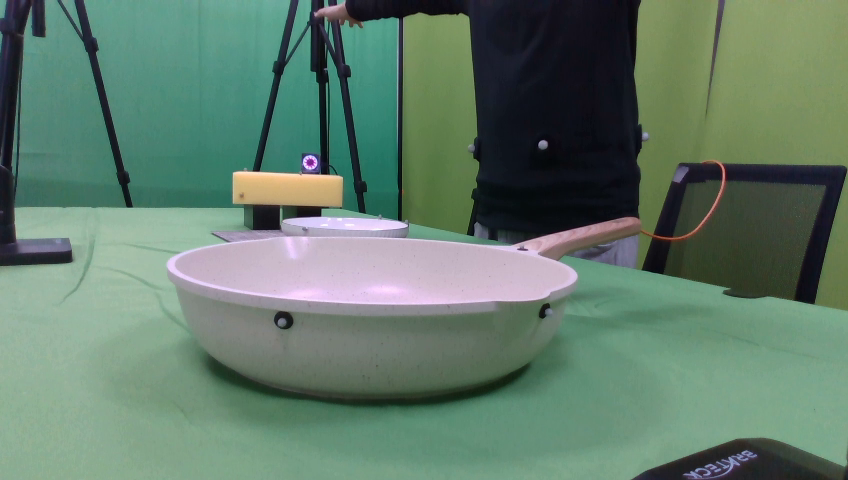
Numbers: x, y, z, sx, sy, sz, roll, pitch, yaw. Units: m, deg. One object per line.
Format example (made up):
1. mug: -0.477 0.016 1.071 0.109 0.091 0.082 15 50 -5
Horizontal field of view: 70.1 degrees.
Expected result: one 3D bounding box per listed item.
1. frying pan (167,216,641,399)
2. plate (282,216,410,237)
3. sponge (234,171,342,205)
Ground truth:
1. frying pan: 0.046 0.024 0.519 0.490 0.102 0.305 -13 16 -37
2. plate: -0.126 -0.012 0.986 0.208 0.039 0.207 2 7 0
3. sponge: -0.272 -0.105 1.224 0.207 0.061 0.118 0 7 -14
